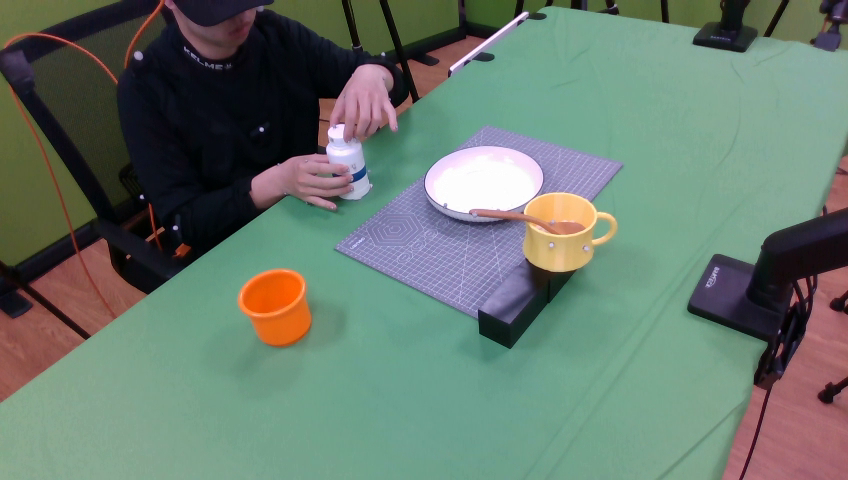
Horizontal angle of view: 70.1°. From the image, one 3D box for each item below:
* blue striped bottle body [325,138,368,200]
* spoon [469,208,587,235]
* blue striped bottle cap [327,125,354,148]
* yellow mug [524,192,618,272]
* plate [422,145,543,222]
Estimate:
[{"bbox_3d":[-0.138,-0.136,1.070,0.063,0.121,0.063,-3,41,3],"label":"blue striped bottle body"},{"bbox_3d":[0.143,-0.026,0.817,0.195,0.021,0.041,12,34,-29],"label":"spoon"},{"bbox_3d":[-0.143,-0.177,1.033,0.044,0.021,0.044,-5,41,5],"label":"blue striped bottle cap"},{"bbox_3d":[0.206,-0.014,0.845,0.131,0.064,0.099,-4,40,2],"label":"yellow mug"},{"bbox_3d":[0.101,-0.094,1.048,0.207,0.039,0.206,-4,41,4],"label":"plate"}]
